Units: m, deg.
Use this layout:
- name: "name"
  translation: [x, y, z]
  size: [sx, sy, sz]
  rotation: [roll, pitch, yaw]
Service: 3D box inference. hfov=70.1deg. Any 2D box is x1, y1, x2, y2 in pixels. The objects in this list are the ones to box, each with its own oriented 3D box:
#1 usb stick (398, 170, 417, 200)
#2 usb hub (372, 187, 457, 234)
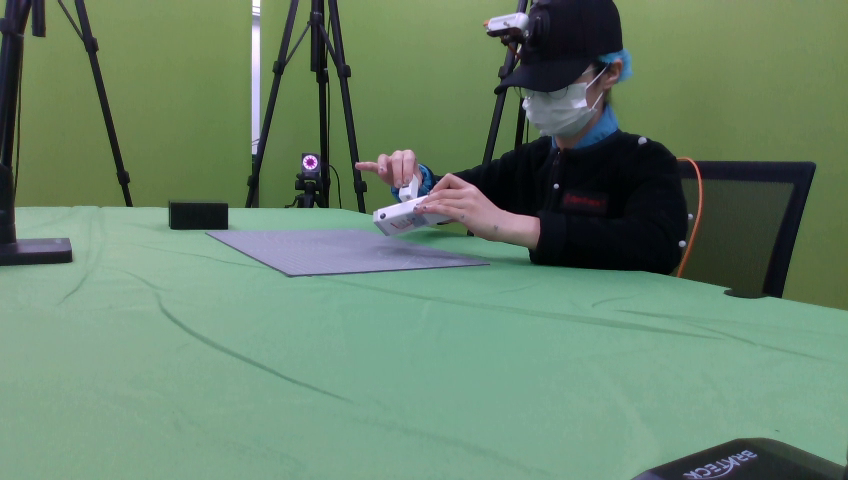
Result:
- name: "usb stick"
  translation: [-0.026, -0.079, 0.950]
  size: [0.021, 0.059, 0.027]
  rotation: [-9, -31, 23]
- name: "usb hub"
  translation: [-0.015, -0.044, 0.942]
  size: [0.125, 0.025, 0.050]
  rotation: [-16, -33, 19]
